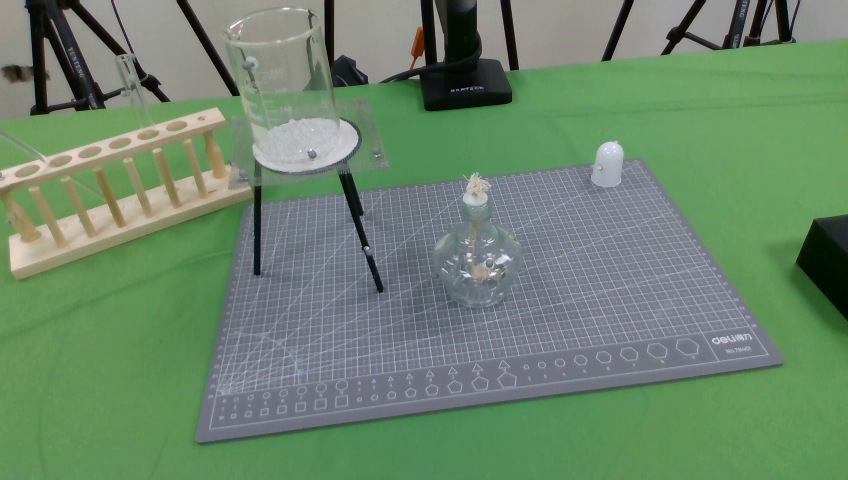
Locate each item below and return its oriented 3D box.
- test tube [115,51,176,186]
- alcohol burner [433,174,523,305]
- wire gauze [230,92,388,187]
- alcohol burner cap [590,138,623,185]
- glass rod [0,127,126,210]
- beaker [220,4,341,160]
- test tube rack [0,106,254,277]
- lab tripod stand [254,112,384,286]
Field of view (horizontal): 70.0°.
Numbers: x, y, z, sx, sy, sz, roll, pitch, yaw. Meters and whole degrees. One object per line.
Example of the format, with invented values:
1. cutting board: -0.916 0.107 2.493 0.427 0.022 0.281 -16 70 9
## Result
1. test tube: -0.288 -0.121 0.631 0.017 0.151 0.017 -2 38 2
2. alcohol burner: 0.045 -0.003 0.511 0.078 0.120 0.077 -3 39 3
3. wire gauze: -0.100 -0.084 0.504 0.125 0.011 0.120 -13 39 -5
4. alcohol burner cap: 0.197 -0.087 0.649 0.034 0.048 0.033 -3 40 3
5. glass rod: -0.375 -0.083 0.585 0.008 0.202 0.008 -18 51 24
6. beaker: -0.109 -0.120 0.471 0.083 0.101 0.073 14 44 22
7. test tube rack: -0.314 -0.056 0.634 0.243 0.086 0.066 -23 44 -20
8. lab tripod stand: -0.095 -0.035 0.547 0.148 0.133 0.147 -3 42 3
